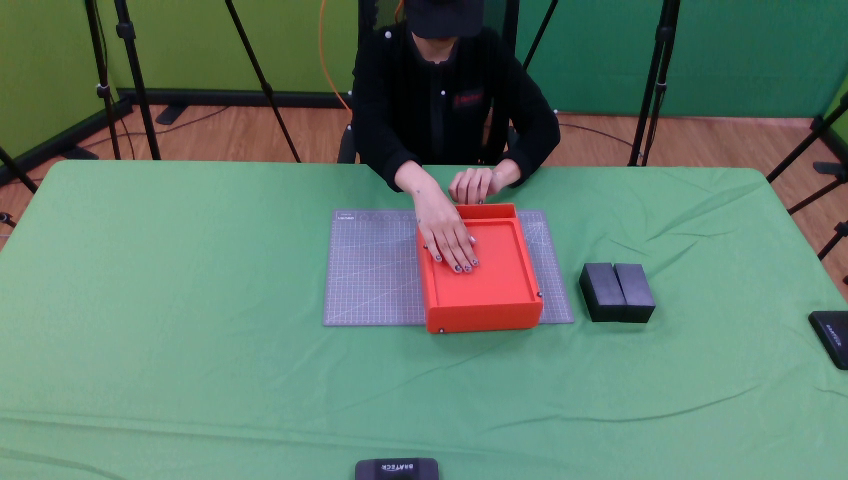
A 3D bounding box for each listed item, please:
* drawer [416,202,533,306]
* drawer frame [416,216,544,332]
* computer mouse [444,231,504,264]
[{"bbox_3d":[0.090,0.024,1.136,0.195,0.073,0.210,-1,46,-6],"label":"drawer"},{"bbox_3d":[0.094,0.057,1.105,0.202,0.083,0.212,-2,47,-7],"label":"drawer frame"},{"bbox_3d":[0.097,0.015,1.166,0.117,0.041,0.062,3,42,-7],"label":"computer mouse"}]
